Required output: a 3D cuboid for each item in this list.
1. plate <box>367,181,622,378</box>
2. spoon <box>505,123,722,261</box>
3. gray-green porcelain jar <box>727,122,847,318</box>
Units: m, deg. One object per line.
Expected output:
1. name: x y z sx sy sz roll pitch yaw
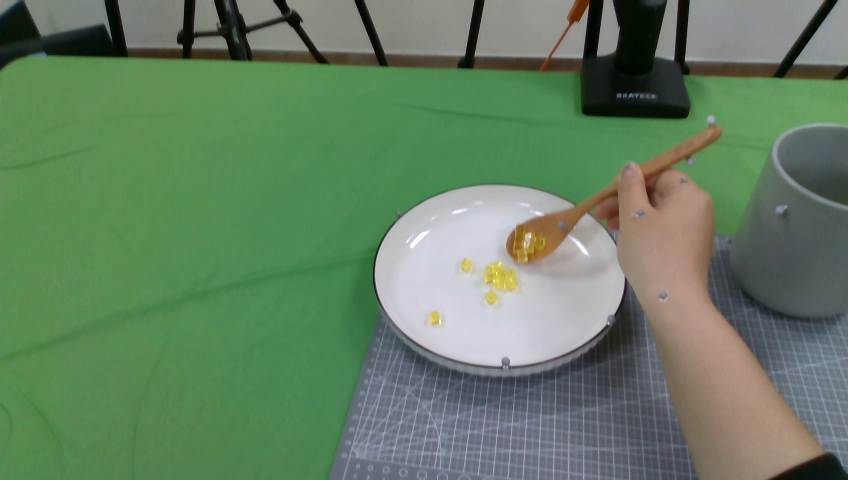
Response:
1. plate: 0.057 0.031 0.512 0.207 0.039 0.205 -2 46 2
2. spoon: 0.143 -0.035 0.483 0.022 0.194 0.041 17 50 -40
3. gray-green porcelain jar: 0.304 -0.010 0.473 0.106 0.128 0.105 -2 46 2
